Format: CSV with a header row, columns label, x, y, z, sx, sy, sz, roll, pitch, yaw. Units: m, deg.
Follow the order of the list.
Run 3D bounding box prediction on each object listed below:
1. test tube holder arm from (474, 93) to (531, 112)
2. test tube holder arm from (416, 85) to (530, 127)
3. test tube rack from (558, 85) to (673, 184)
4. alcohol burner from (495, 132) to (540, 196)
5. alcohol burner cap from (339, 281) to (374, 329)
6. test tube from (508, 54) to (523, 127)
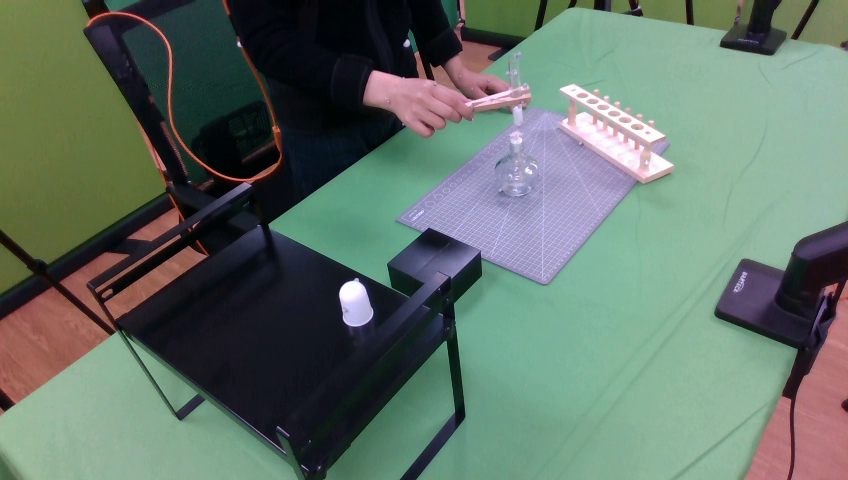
label,x,y,z,sx,sy,sz,roll,pitch,yaw
test tube holder arm,0.119,-0.209,0.921,0.088,0.015,0.010,-8,62,7
test tube holder arm,0.075,-0.204,0.928,0.178,0.015,0.013,-15,61,3
test tube rack,0.347,-0.203,1.109,0.067,0.085,0.240,-22,42,-17
alcohol burner,0.159,-0.135,1.035,0.078,0.119,0.077,-5,42,5
alcohol burner cap,-0.071,0.063,0.617,0.034,0.048,0.033,-4,39,4
test tube,0.139,-0.222,0.914,0.017,0.151,0.017,-5,62,9
